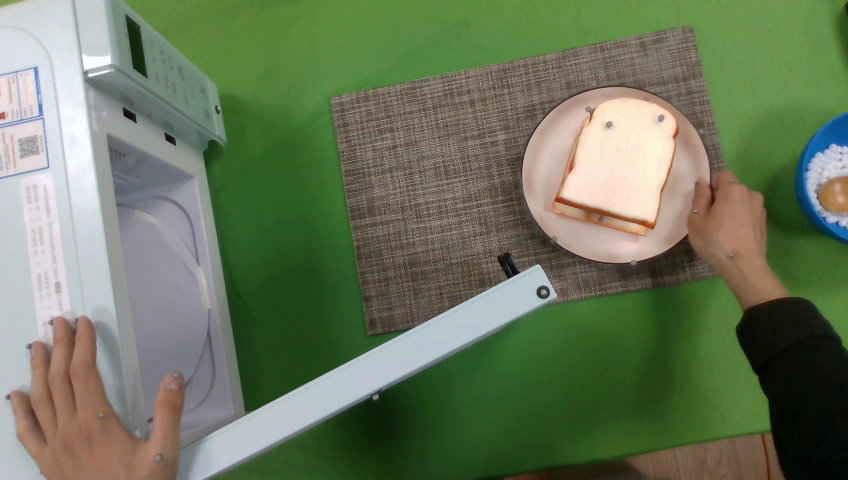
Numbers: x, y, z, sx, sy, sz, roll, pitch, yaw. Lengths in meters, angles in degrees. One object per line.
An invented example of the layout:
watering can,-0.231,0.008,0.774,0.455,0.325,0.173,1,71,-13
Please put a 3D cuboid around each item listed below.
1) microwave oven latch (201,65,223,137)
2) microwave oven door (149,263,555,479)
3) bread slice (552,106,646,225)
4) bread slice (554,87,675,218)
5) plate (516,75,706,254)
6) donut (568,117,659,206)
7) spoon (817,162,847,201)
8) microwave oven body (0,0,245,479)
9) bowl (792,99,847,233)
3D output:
microwave oven latch,-0.266,-0.168,0.733,0.030,0.029,0.079,-12,84,3
microwave oven door,-0.048,0.119,0.588,0.356,0.244,0.039,-28,82,2
bread slice,0.212,-0.092,0.698,0.107,0.018,0.134,12,85,8
bread slice,0.206,-0.099,0.642,0.104,0.019,0.131,16,83,15
plate,0.211,-0.084,0.698,0.207,0.039,0.207,-1,83,7
donut,0.209,-0.086,0.670,0.099,0.048,0.099,-1,84,7
spoon,0.517,-0.082,0.628,0.193,0.022,0.041,-16,78,25
microwave oven body,-0.383,0.025,0.628,0.326,0.261,0.440,-12,84,3
bowl,0.470,-0.074,0.663,0.151,0.077,0.151,0,84,4
